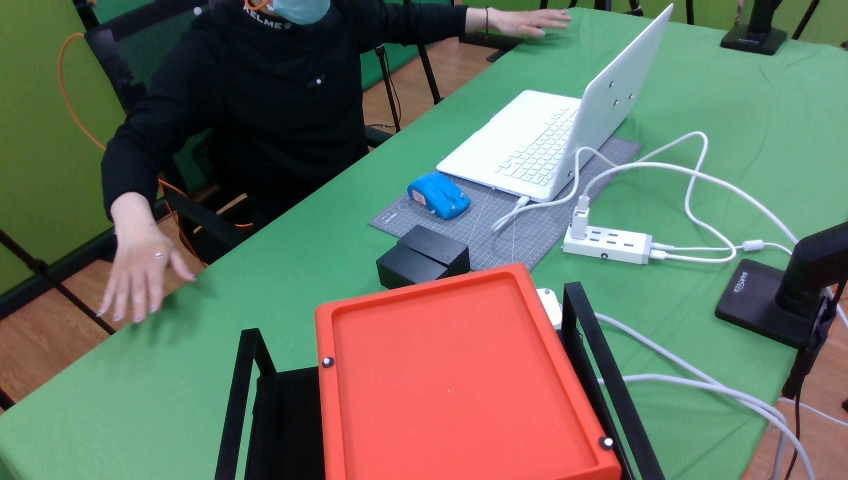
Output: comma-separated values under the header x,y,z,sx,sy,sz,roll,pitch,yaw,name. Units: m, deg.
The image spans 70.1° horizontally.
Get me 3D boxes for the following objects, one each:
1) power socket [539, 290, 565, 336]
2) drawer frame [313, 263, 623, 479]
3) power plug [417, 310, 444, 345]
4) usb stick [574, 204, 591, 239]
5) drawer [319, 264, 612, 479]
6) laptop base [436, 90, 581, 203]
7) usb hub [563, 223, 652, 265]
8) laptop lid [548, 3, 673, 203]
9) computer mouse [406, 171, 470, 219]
x,y,z,sx,sy,sz,roll,pitch,yaw,name
0.081,0.112,0.822,0.227,0.033,0.072,-6,41,0,power socket
0.021,0.130,0.493,0.202,0.083,0.212,-11,41,-6,drawer frame
0.007,0.122,0.786,0.035,0.053,0.072,0,39,7,power plug
0.240,-0.023,0.914,0.021,0.059,0.027,-3,34,19,usb stick
0.020,0.129,0.497,0.195,0.073,0.210,-11,41,-5,drawer
0.214,-0.192,1.172,0.233,0.023,0.355,19,46,32,laptop base
0.281,0.005,0.925,0.124,0.025,0.049,10,43,19,usb hub
0.320,-0.235,1.026,0.013,0.242,0.357,31,50,20,laptop lid
0.024,-0.082,1.049,0.063,0.041,0.116,-30,50,-27,computer mouse
